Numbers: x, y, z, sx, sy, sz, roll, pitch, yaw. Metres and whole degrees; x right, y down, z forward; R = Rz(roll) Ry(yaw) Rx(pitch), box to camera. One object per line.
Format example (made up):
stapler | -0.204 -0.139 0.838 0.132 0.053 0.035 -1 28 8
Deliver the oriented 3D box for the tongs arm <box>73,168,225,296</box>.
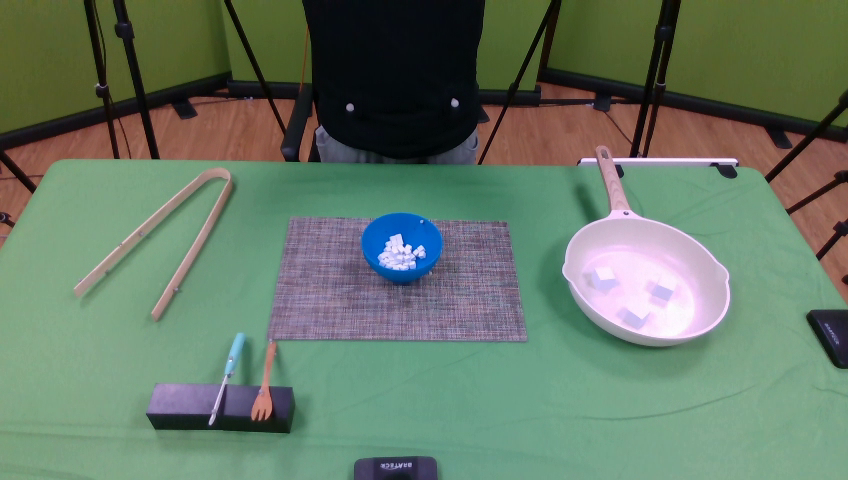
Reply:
tongs arm | -0.515 -0.026 1.172 0.050 0.026 0.383 18 46 11

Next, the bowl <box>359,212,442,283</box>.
bowl | -0.044 0.026 1.125 0.151 0.077 0.150 2 46 -2

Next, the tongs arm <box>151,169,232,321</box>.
tongs arm | -0.437 -0.004 1.163 0.028 0.028 0.385 6 46 5

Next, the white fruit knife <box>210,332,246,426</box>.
white fruit knife | -0.301 0.206 0.930 0.016 0.027 0.206 5 29 -7

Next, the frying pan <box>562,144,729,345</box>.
frying pan | 0.396 -0.008 1.179 0.307 0.103 0.484 1 55 -4

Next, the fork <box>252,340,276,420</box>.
fork | -0.242 0.211 0.932 0.028 0.019 0.206 -7 27 -6
